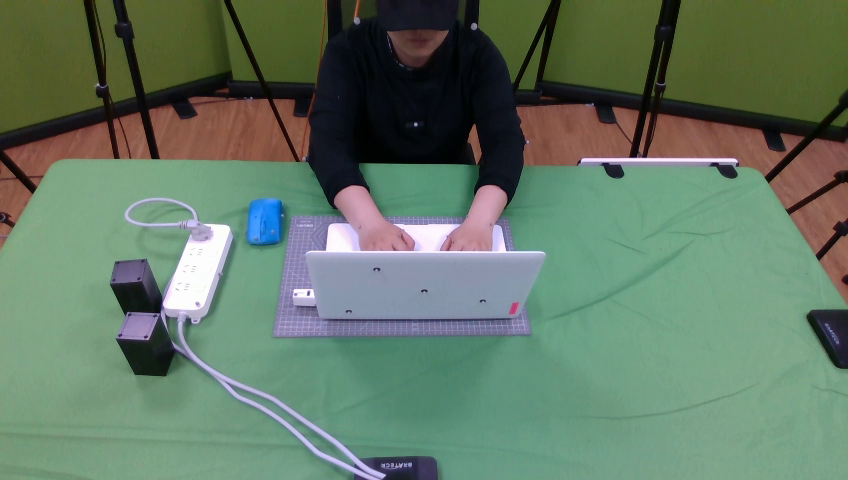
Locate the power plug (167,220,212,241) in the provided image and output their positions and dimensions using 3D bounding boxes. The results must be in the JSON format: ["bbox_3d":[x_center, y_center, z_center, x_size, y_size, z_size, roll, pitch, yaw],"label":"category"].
[{"bbox_3d":[-0.438,-0.017,1.143,0.072,0.053,0.035,10,43,7],"label":"power plug"}]

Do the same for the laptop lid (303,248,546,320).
[{"bbox_3d":[-0.002,0.077,0.962,0.357,0.243,0.013,1,58,-5],"label":"laptop lid"}]

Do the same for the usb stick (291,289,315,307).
[{"bbox_3d":[-0.203,0.102,1.066,0.059,0.027,0.021,4,45,-5],"label":"usb stick"}]

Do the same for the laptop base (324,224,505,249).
[{"bbox_3d":[-0.014,0.056,1.144,0.355,0.023,0.234,0,42,-4],"label":"laptop base"}]

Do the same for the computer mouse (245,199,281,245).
[{"bbox_3d":[-0.318,-0.039,1.201,0.063,0.041,0.116,0,50,-8],"label":"computer mouse"}]

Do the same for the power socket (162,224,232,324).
[{"bbox_3d":[-0.411,0.053,1.106,0.072,0.033,0.225,3,45,-1],"label":"power socket"}]
